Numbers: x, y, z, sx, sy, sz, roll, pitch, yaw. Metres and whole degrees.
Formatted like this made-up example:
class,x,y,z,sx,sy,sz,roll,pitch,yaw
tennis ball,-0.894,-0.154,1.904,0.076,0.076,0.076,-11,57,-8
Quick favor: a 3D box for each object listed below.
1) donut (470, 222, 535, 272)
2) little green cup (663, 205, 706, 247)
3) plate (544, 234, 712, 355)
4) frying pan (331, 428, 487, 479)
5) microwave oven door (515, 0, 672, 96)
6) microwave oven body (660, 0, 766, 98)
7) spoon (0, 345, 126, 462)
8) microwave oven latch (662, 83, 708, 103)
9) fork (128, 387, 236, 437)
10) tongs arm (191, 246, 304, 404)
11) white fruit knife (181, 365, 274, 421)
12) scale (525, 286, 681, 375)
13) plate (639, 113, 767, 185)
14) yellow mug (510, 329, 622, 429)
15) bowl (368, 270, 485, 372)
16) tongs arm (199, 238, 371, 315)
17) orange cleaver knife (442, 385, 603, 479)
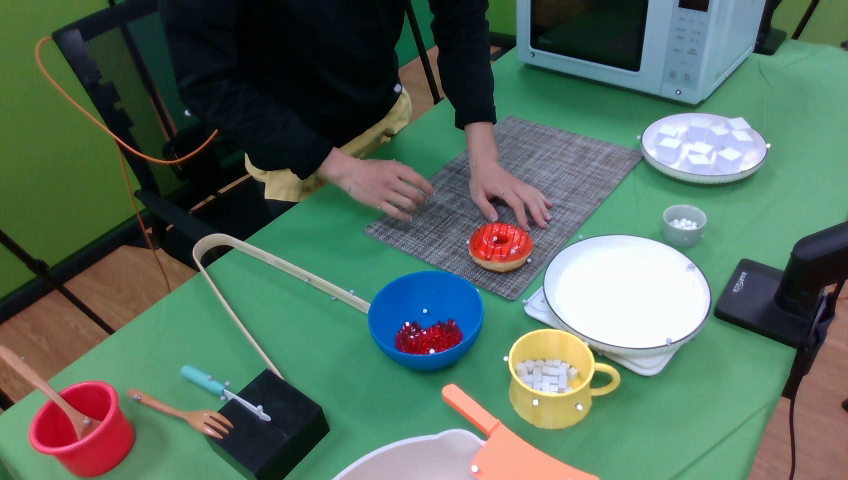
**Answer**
class,x,y,z,sx,sy,sz,roll,pitch,yaw
donut,0.119,0.009,0.923,0.099,0.048,0.098,-4,38,3
little green cup,0.396,-0.020,0.926,0.061,0.039,0.061,-4,40,4
plate,0.262,0.072,0.792,0.209,0.038,0.208,-4,41,4
frying pan,-0.089,0.306,0.564,0.487,0.103,0.306,10,41,7
microwave oven door,0.343,-0.455,1.259,0.353,0.245,0.039,26,51,33
microwave oven body,0.472,-0.513,1.317,0.438,0.261,0.327,26,51,34
spoon,-0.434,0.192,0.720,0.194,0.021,0.042,47,53,-6
microwave oven latch,0.518,-0.296,1.204,0.078,0.029,0.030,28,52,35
fork,-0.305,0.207,0.744,0.206,0.019,0.028,3,40,36
tongs arm,-0.268,0.111,0.881,0.028,0.028,0.384,-36,46,-19
white fruit knife,-0.245,0.188,0.747,0.205,0.027,0.016,9,40,41
scale,0.254,0.091,0.821,0.199,0.032,0.149,28,51,35
plate,0.489,-0.157,1.074,0.207,0.039,0.206,-4,40,4
yellow mug,0.168,0.164,0.721,0.130,0.064,0.099,0,40,8
bowl,0.007,0.119,0.791,0.151,0.077,0.150,-5,39,4
tongs arm,-0.209,0.064,0.924,0.381,0.026,0.051,22,52,32
orange cleaver knife,0.086,0.219,0.612,0.209,0.012,0.077,28,49,35
